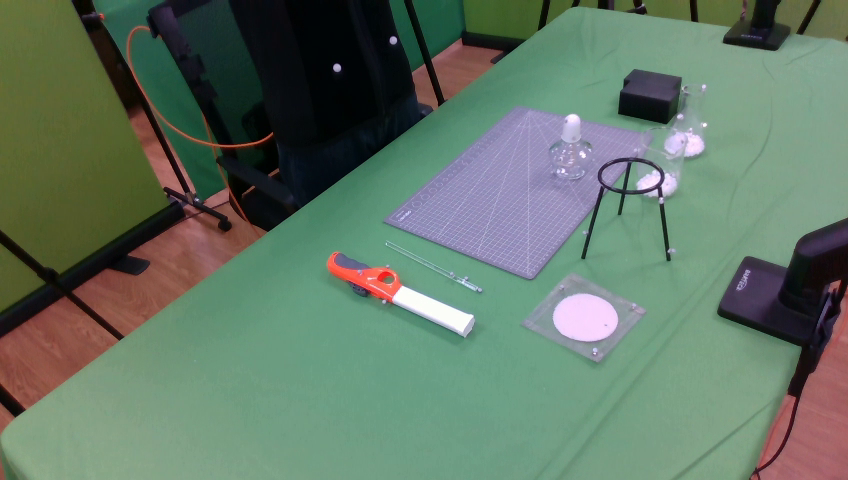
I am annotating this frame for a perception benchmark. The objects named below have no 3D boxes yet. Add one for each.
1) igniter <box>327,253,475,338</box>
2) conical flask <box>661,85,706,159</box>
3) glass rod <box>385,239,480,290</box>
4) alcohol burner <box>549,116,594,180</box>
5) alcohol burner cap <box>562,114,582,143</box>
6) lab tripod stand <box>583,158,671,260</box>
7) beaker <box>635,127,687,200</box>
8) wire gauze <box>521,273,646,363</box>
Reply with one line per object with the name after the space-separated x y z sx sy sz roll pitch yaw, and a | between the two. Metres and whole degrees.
-0.045 0.077 0.898 0.274 0.025 0.057 22 60 32 | igniter
0.464 -0.210 1.065 0.075 0.122 0.075 -6 40 6 | conical flask
0.009 0.036 0.950 0.198 0.008 0.008 26 52 35 | glass rod
0.258 -0.166 1.055 0.078 0.120 0.077 -6 42 6 | alcohol burner
0.254 -0.192 1.030 0.034 0.048 0.033 -4 50 6 | alcohol burner cap
0.300 -0.046 0.895 0.148 0.132 0.147 -7 38 6 | lab tripod stand
0.388 -0.122 0.994 0.074 0.101 0.083 -8 40 2 | beaker
0.219 0.105 0.830 0.120 0.011 0.125 28 54 37 | wire gauze
